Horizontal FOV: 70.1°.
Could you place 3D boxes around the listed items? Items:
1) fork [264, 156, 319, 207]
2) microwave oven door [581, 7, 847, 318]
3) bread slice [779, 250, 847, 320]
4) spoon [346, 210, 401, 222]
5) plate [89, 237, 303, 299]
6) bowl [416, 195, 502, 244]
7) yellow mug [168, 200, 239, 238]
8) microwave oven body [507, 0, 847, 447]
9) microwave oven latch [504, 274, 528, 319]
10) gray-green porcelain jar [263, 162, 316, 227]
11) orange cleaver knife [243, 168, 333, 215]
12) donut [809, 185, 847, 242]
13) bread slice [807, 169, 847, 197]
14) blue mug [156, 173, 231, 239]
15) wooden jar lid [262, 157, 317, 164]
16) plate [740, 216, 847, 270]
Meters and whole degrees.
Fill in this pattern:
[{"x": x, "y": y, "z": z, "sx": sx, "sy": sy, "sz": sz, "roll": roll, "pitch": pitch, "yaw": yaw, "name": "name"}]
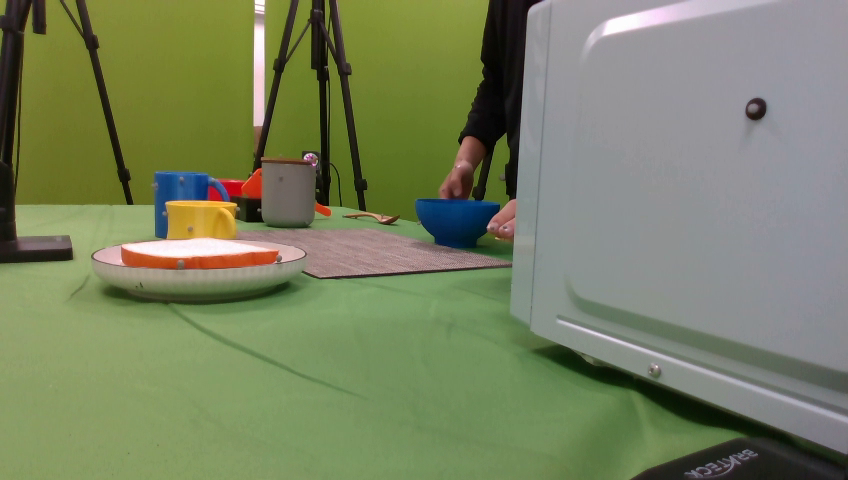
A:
[{"x": -0.331, "y": -0.144, "z": 1.505, "sx": 0.207, "sy": 0.018, "sz": 0.028, "roll": -42, "pitch": -22, "yaw": 22, "name": "fork"}, {"x": 0.295, "y": -0.067, "z": 0.569, "sx": 0.358, "sy": 0.243, "sz": 0.039, "roll": -3, "pitch": 8, "yaw": -31, "name": "microwave oven door"}, {"x": 0.370, "y": 0.025, "z": 0.478, "sx": 0.132, "sy": 0.019, "sz": 0.104, "roll": -24, "pitch": 10, "yaw": -8, "name": "bread slice"}, {"x": -0.121, "y": -0.060, "z": 1.400, "sx": 0.042, "sy": 0.021, "sz": 0.192, "roll": -25, "pitch": 23, "yaw": -38, "name": "spoon"}, {"x": -0.233, "y": 0.029, "z": 0.636, "sx": 0.208, "sy": 0.039, "sz": 0.207, "roll": 2, "pitch": 7, "yaw": 0, "name": "plate"}, {"x": 0.059, "y": -0.035, "z": 1.049, "sx": 0.151, "sy": 0.077, "sz": 0.151, "roll": 2, "pitch": 8, "yaw": 0, "name": "bowl"}, {"x": -0.319, "y": -0.023, "z": 0.904, "sx": 0.130, "sy": 0.064, "sz": 0.100, "roll": 8, "pitch": 11, "yaw": 36, "name": "yellow mug"}, {"x": 0.331, "y": -0.042, "z": 0.425, "sx": 0.444, "sy": 0.260, "sz": 0.324, "roll": -2, "pitch": 8, "yaw": -31, "name": "microwave oven body"}, {"x": 0.100, "y": 0.041, "z": 0.470, "sx": 0.079, "sy": 0.029, "sz": 0.030, "roll": -1, "pitch": 7, "yaw": -27, "name": "microwave oven latch"}, {"x": -0.271, "y": -0.092, "z": 1.217, "sx": 0.106, "sy": 0.126, "sz": 0.106, "roll": 2, "pitch": 7, "yaw": 0, "name": "gray-green porcelain jar"}, {"x": -0.300, "y": -0.089, "z": 1.351, "sx": 0.212, "sy": 0.077, "sz": 0.012, "roll": 28, "pitch": -9, "yaw": -34, "name": "orange cleaver knife"}, {"x": 0.351, "y": -0.024, "z": 0.463, "sx": 0.099, "sy": 0.048, "sz": 0.099, "roll": -10, "pitch": 5, "yaw": 1, "name": "donut"}, {"x": 0.365, "y": -0.051, "z": 0.453, "sx": 0.135, "sy": 0.018, "sz": 0.106, "roll": -9, "pitch": 1, "yaw": -23, "name": "bread slice"}, {"x": -0.381, "y": -0.057, "z": 1.004, "sx": 0.117, "sy": 0.106, "sz": 0.082, "roll": 0, "pitch": 8, "yaw": -12, "name": "blue mug"}, {"x": -0.269, "y": -0.154, "z": 1.208, "sx": 0.108, "sy": 0.020, "sz": 0.108, "roll": 3, "pitch": 4, "yaw": 0, "name": "wooden jar lid"}, {"x": 0.358, "y": 0.002, "z": 0.464, "sx": 0.209, "sy": 0.038, "sz": 0.209, "roll": 1, "pitch": 4, "yaw": 0, "name": "plate"}]
